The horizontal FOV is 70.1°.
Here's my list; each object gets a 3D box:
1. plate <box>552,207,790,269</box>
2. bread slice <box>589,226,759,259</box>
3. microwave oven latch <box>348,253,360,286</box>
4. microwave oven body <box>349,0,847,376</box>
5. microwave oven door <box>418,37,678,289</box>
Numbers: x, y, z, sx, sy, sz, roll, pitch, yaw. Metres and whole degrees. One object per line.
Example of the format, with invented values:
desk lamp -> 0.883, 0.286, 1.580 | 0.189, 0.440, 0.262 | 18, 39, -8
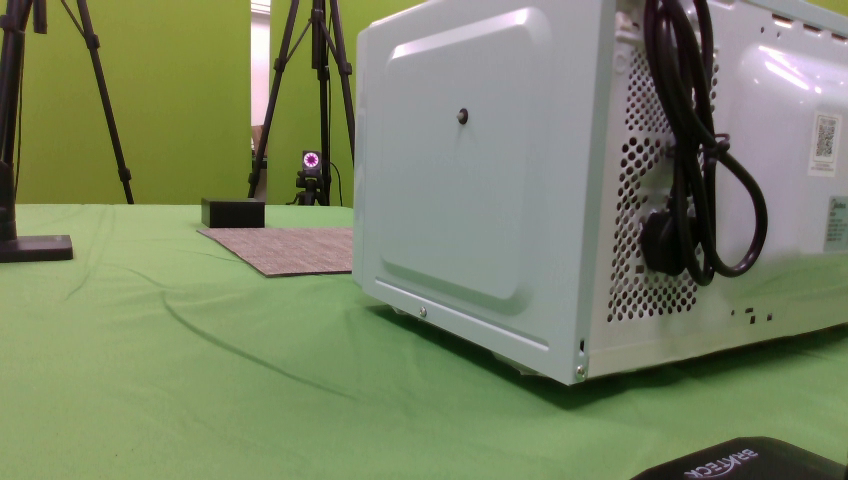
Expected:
plate -> 0.225, -0.004, 0.572 | 0.209, 0.038, 0.209 | 4, 7, 0
bread slice -> 0.226, 0.001, 0.568 | 0.132, 0.019, 0.104 | 3, 5, -23
microwave oven latch -> -0.034, 0.028, 0.581 | 0.079, 0.029, 0.030 | -1, 7, -32
microwave oven body -> 0.199, -0.053, 0.540 | 0.444, 0.260, 0.324 | -1, 7, -32
microwave oven door -> 0.159, -0.079, 0.684 | 0.358, 0.243, 0.039 | -2, 9, -32
